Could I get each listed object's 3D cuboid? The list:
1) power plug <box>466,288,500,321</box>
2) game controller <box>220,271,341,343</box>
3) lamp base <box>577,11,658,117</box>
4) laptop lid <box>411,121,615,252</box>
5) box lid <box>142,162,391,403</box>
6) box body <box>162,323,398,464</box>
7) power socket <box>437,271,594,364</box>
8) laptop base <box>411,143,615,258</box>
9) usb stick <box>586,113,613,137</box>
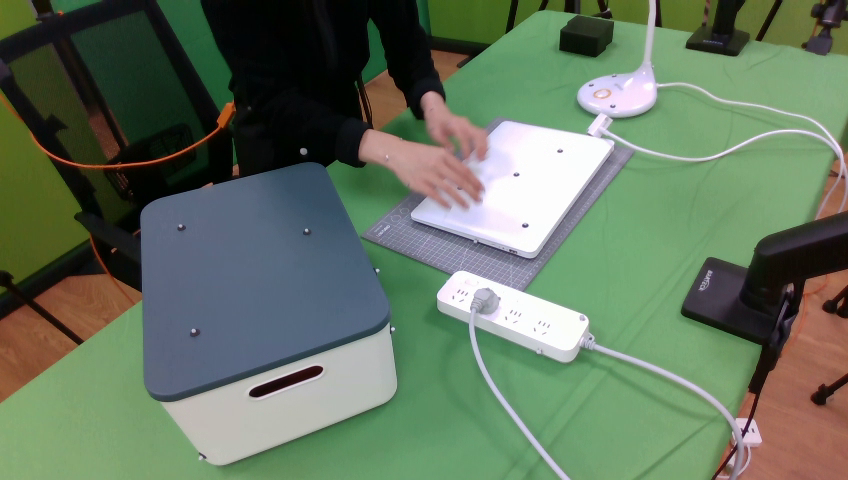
[{"bbox_3d":[0.072,0.093,0.813,0.073,0.053,0.035,-37,49,-28],"label":"power plug"},{"bbox_3d":[-0.185,0.077,0.778,0.155,0.052,0.096,-8,46,-2],"label":"game controller"},{"bbox_3d":[0.407,-0.365,1.223,0.180,0.181,0.159,-20,42,-18],"label":"lamp base"},{"bbox_3d":[0.164,-0.112,1.068,0.240,0.013,0.357,19,46,31],"label":"laptop lid"},{"bbox_3d":[-0.212,0.025,0.752,0.264,0.015,0.368,-17,41,-13],"label":"box lid"},{"bbox_3d":[-0.205,0.080,0.802,0.255,0.161,0.361,-18,41,-13],"label":"box body"},{"bbox_3d":[0.118,0.102,0.830,0.225,0.033,0.072,20,48,28],"label":"power socket"},{"bbox_3d":[0.167,-0.102,1.074,0.234,0.023,0.355,17,46,30],"label":"laptop base"},{"bbox_3d":[0.329,-0.210,1.149,0.022,0.059,0.027,29,19,-27],"label":"usb stick"}]
